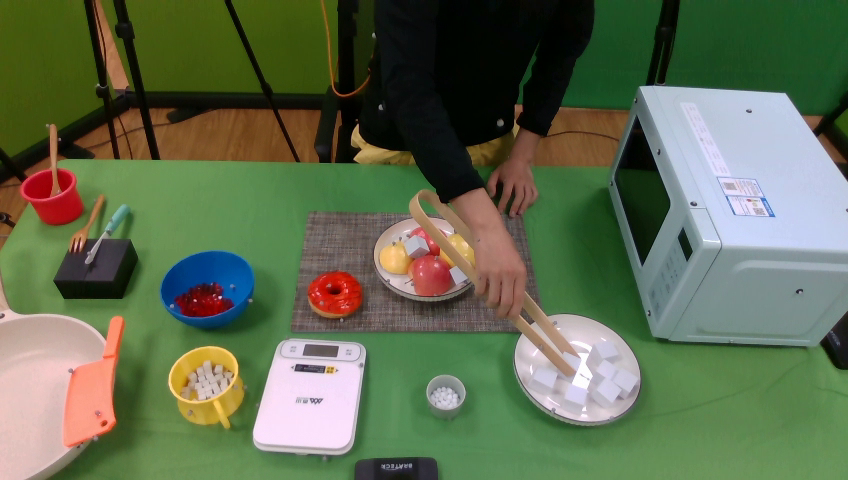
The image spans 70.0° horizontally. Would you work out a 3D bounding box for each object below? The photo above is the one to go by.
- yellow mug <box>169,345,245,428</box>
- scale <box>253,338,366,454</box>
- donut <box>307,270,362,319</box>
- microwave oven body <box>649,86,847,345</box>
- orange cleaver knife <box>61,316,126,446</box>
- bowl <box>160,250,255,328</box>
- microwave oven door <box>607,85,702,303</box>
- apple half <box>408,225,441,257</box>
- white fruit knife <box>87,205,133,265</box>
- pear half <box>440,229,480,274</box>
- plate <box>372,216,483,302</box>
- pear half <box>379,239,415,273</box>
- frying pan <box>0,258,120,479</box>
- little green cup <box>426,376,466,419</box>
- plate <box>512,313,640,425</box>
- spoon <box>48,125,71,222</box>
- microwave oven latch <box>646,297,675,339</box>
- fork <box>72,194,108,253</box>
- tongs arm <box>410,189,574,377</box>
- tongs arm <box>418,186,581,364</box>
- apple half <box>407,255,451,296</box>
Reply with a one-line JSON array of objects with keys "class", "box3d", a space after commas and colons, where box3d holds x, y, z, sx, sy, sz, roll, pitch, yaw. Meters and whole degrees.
[{"class": "yellow mug", "box3d": [-0.322, 0.230, 0.922, 0.100, 0.064, 0.130, -24, 53, -25]}, {"class": "scale", "box3d": [-0.175, 0.236, 0.951, 0.149, 0.032, 0.199, 4, 45, -1]}, {"class": "donut", "box3d": [-0.158, 0.096, 1.073, 0.099, 0.048, 0.098, 4, 46, -4]}, {"class": "microwave oven body", "box3d": [0.567, -0.053, 1.118, 0.326, 0.261, 0.439, 2, 45, -1]}, {"class": "orange cleaver knife", "box3d": [-0.480, 0.199, 0.888, 0.077, 0.012, 0.210, -8, 46, -9]}, {"class": "bowl", "box3d": [-0.362, 0.098, 1.039, 0.151, 0.077, 0.150, 2, 45, -2]}, {"class": "microwave oven door", "box3d": [0.423, -0.094, 1.140, 0.039, 0.245, 0.353, 2, 46, -1]}, {"class": "apple half", "box3d": [0.011, -0.006, 1.176, 0.081, 0.033, 0.081, 2, 52, -3]}, {"class": "white fruit knife", "box3d": [-0.584, -0.013, 1.129, 0.016, 0.027, 0.206, -1, 31, -4]}, {"class": "pear half", "box3d": [0.065, 0.007, 1.150, 0.076, 0.056, 0.109, -10, 43, -2]}, {"class": "plate", "box3d": [0.006, 0.038, 1.145, 0.209, 0.038, 0.208, 2, 46, -2]}, {"class": "pear half", "box3d": [-0.048, 0.024, 1.146, 0.070, 0.031, 0.087, 12, 47, -11]}, {"class": "frying pan", "box3d": [-0.647, 0.164, 0.936, 0.307, 0.103, 0.485, -19, 58, -22]}, {"class": "little green cup", "box3d": [0.033, 0.248, 0.950, 0.061, 0.039, 0.061, 2, 46, -2]}, {"class": "plate", "box3d": [0.246, 0.213, 0.999, 0.208, 0.039, 0.206, 2, 46, -2]}, {"class": "spoon", "box3d": [-0.719, -0.131, 1.188, 0.041, 0.021, 0.193, -3, 90, -7]}, {"class": "microwave oven latch", "box3d": [0.412, 0.134, 1.061, 0.030, 0.029, 0.078, 4, 45, 1]}, {"class": "fork", "box3d": [-0.634, -0.036, 1.158, 0.028, 0.019, 0.206, -8, 31, -8]}, {"class": "tongs arm", "box3d": [0.107, 0.072, 0.977, 0.387, 0.028, 0.028, 48, 47, 0]}, {"class": "tongs arm", "box3d": [0.119, 0.061, 0.996, 0.384, 0.026, 0.051, 51, 43, 3]}, {"class": "apple half", "box3d": [0.011, 0.058, 1.103, 0.075, 0.053, 0.080, -6, 44, -13]}]
